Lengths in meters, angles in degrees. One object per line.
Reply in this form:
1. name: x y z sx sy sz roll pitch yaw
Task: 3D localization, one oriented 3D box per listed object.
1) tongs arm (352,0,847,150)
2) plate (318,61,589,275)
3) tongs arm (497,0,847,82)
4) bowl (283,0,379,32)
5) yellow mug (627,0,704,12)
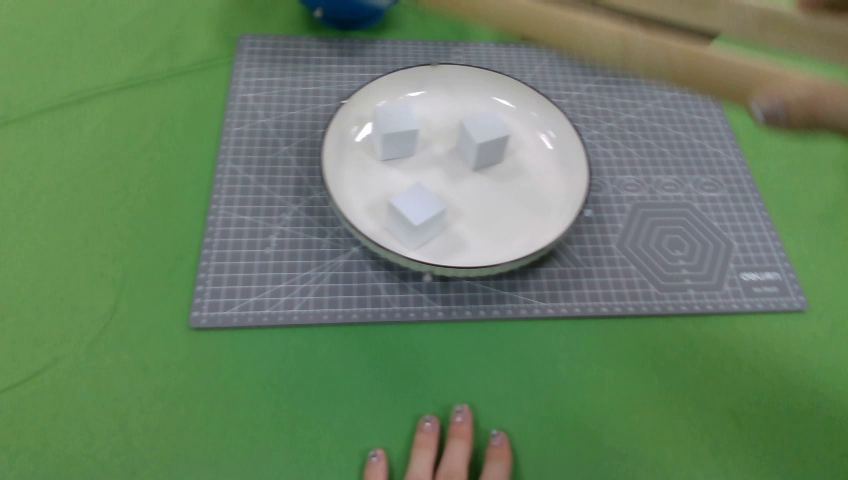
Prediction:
1. tongs arm: 0.096 -0.104 0.326 0.384 0.028 0.028 27 51 29
2. plate: 0.023 -0.058 0.478 0.208 0.039 0.205 2 57 -3
3. tongs arm: 0.113 -0.121 0.340 0.382 0.027 0.050 24 53 27
4. bowl: -0.083 -0.254 0.576 0.151 0.077 0.150 2 56 -3
5. yellow mug: 0.213 -0.266 0.559 0.131 0.064 0.099 -15 59 -13
